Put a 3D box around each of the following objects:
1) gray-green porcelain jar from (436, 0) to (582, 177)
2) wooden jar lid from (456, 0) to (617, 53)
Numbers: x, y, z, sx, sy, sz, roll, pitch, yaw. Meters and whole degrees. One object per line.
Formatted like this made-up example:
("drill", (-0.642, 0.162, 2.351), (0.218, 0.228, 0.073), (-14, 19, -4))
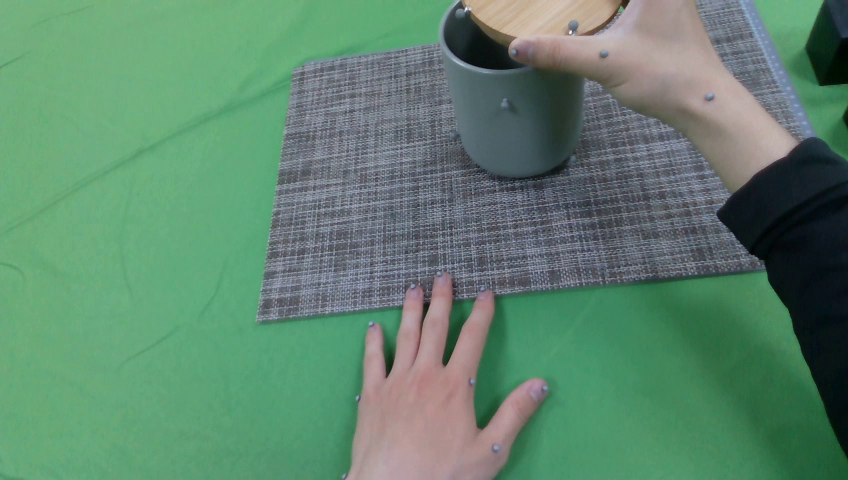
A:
("gray-green porcelain jar", (0.071, -0.121, 0.483), (0.106, 0.128, 0.105), (-6, 56, 9))
("wooden jar lid", (0.074, -0.166, 0.406), (0.108, 0.021, 0.107), (-1, 65, 3))
